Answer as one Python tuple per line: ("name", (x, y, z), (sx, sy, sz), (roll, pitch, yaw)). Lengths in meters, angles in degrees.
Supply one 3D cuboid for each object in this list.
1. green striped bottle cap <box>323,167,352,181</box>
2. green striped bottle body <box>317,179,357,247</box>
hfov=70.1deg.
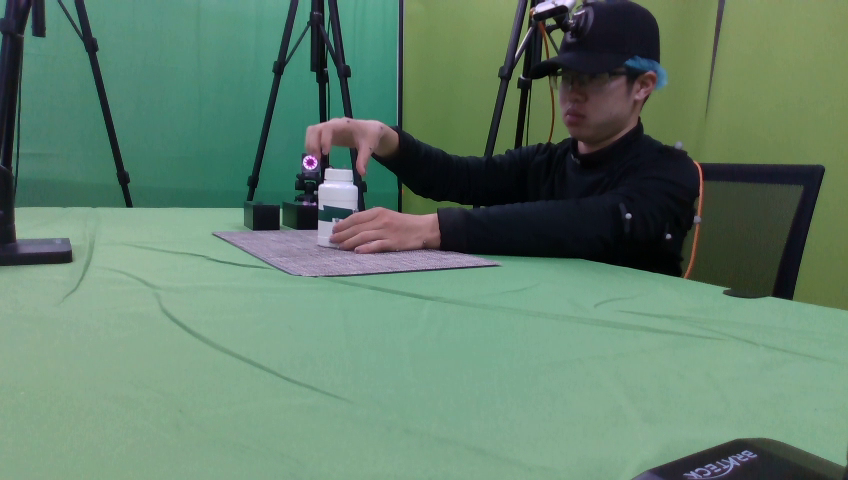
("green striped bottle cap", (-0.137, -0.104, 0.958), (0.044, 0.020, 0.044), (4, 6, 0))
("green striped bottle body", (-0.138, -0.051, 0.964), (0.063, 0.119, 0.063), (2, 7, 0))
